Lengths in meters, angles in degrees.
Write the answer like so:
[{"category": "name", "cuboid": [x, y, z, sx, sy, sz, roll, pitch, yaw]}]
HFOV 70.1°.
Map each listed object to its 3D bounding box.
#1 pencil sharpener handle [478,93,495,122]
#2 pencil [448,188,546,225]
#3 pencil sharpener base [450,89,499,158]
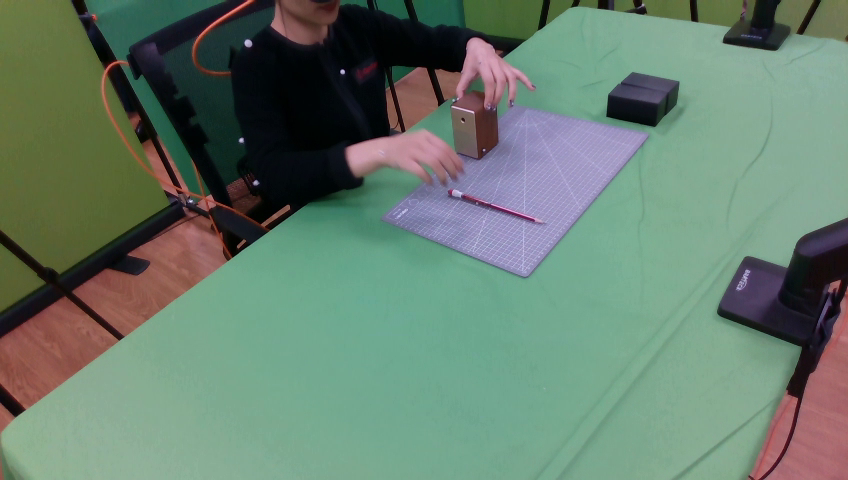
[{"category": "pencil sharpener handle", "cuboid": [0.127, -0.262, 1.177, 0.036, 0.068, 0.031, 30, 53, 25]}, {"category": "pencil", "cuboid": [0.121, -0.057, 1.033, 0.192, 0.012, 0.012, 23, 50, 30]}, {"category": "pencil sharpener base", "cuboid": [0.099, -0.223, 1.155, 0.061, 0.107, 0.077, 23, 49, 33]}]
